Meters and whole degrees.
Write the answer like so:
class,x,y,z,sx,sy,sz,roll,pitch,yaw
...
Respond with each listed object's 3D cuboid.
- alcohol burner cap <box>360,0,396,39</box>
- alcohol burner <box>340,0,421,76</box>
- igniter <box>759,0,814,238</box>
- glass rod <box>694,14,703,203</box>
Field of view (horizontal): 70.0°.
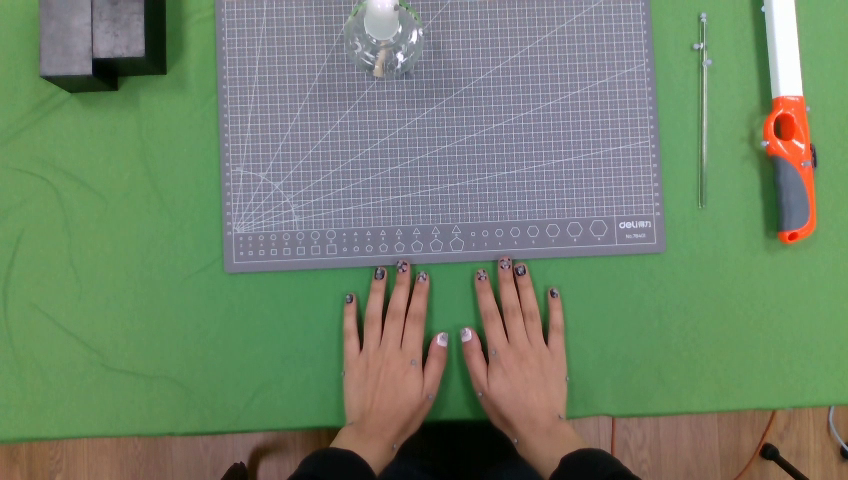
class,x,y,z,sx,sy,sz,roll,pitch,yaw
alcohol burner cap,-0.040,-0.204,0.536,0.034,0.048,0.033,1,80,-8
alcohol burner,-0.041,-0.200,0.571,0.078,0.119,0.078,0,86,-3
igniter,0.370,-0.140,0.623,0.057,0.025,0.276,-2,87,-12
glass rod,0.285,-0.138,0.631,0.008,0.008,0.199,2,87,-1
